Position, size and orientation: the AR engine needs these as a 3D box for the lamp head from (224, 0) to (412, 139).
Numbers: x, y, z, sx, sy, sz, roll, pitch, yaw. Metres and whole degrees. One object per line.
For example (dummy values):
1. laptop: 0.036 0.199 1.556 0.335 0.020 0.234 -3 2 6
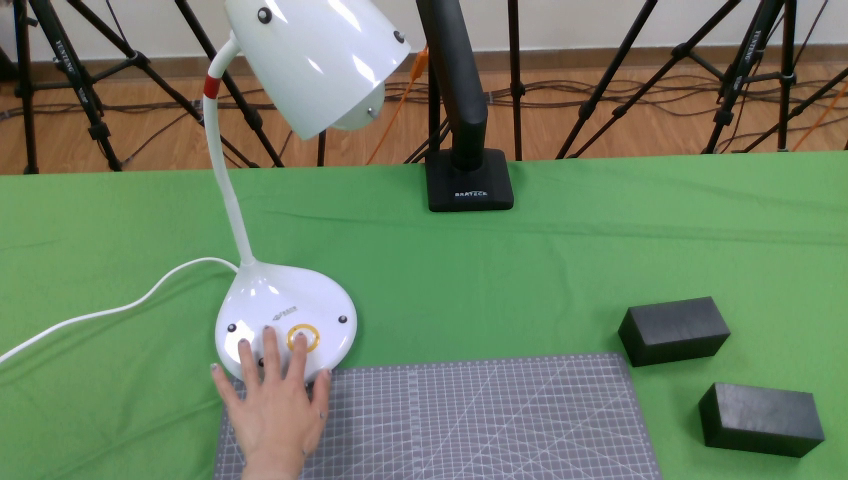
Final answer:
1. lamp head: -0.090 -0.152 0.448 0.124 0.112 0.112 44 52 -18

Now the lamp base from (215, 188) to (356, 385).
1. lamp base: -0.168 0.040 0.652 0.177 0.182 0.160 34 56 28
